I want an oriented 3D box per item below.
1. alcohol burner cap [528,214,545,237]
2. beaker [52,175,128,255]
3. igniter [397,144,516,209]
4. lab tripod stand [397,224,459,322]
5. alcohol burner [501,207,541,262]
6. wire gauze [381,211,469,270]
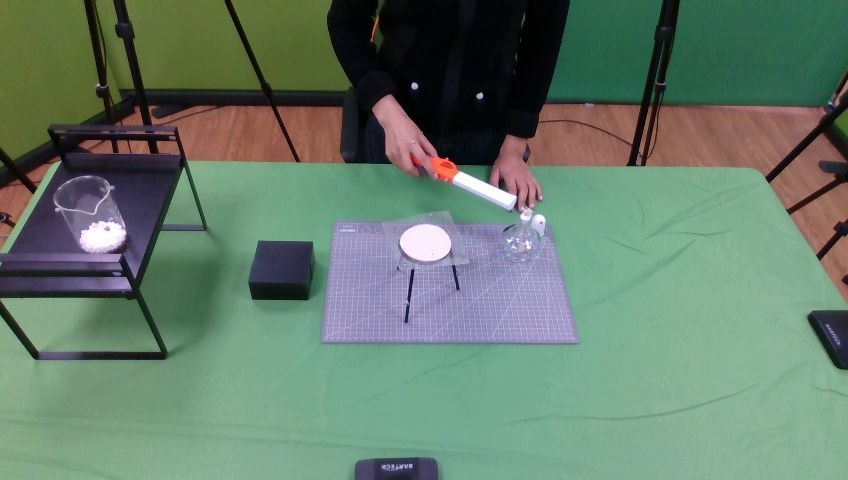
[{"bbox_3d":[0.231,-0.032,1.230,0.034,0.048,0.033,2,46,-2],"label":"alcohol burner cap"},{"bbox_3d":[-0.482,-0.032,0.888,0.074,0.101,0.083,-28,55,-27],"label":"beaker"},{"bbox_3d":[0.055,-0.128,1.181,0.275,0.025,0.057,28,53,24],"label":"igniter"},{"bbox_3d":[-0.003,0.052,1.067,0.148,0.132,0.147,3,48,-3],"label":"lab tripod stand"},{"bbox_3d":[0.188,-0.015,1.161,0.078,0.120,0.077,1,44,-1],"label":"alcohol burner"},{"bbox_3d":[0.000,0.001,1.023,0.125,0.011,0.120,-9,48,-13],"label":"wire gauze"}]
